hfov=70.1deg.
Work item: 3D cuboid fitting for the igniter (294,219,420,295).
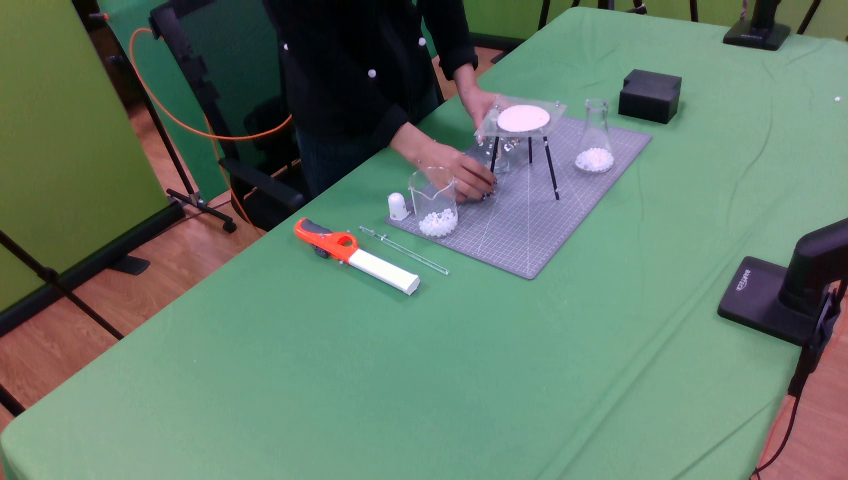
[{"bbox_3d":[-0.118,0.022,0.976,0.274,0.025,0.057,24,60,34],"label":"igniter"}]

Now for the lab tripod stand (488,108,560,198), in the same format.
[{"bbox_3d":[0.173,-0.151,1.038,0.148,0.132,0.147,-7,38,6],"label":"lab tripod stand"}]

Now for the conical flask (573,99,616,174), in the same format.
[{"bbox_3d":[0.302,-0.184,1.061,0.075,0.122,0.075,-5,40,5],"label":"conical flask"}]

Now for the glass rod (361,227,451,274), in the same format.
[{"bbox_3d":[-0.033,0.015,0.985,0.198,0.008,0.008,26,52,34],"label":"glass rod"}]

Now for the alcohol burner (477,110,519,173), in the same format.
[{"bbox_3d":[0.134,-0.183,1.100,0.078,0.119,0.077,-4,40,4],"label":"alcohol burner"}]

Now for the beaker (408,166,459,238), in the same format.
[{"bbox_3d":[0.019,-0.058,0.984,0.074,0.101,0.083,-6,41,6],"label":"beaker"}]

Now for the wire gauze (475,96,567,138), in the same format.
[{"bbox_3d":[0.161,-0.201,0.994,0.121,0.011,0.125,11,43,23],"label":"wire gauze"}]

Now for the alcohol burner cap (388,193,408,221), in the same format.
[{"bbox_3d":[-0.047,-0.059,1.043,0.034,0.048,0.033,-6,40,6],"label":"alcohol burner cap"}]
